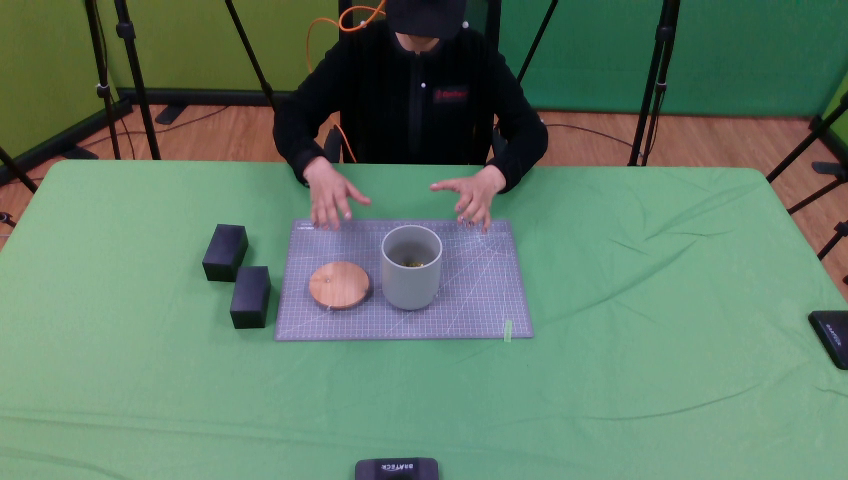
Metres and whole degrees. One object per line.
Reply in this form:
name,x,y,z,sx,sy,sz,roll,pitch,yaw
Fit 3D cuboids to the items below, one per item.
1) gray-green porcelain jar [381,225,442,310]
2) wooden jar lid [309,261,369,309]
gray-green porcelain jar,-0.023,0.053,1.068,0.106,0.127,0.105,2,46,-2
wooden jar lid,-0.155,0.084,1.104,0.108,0.021,0.107,3,47,-3
